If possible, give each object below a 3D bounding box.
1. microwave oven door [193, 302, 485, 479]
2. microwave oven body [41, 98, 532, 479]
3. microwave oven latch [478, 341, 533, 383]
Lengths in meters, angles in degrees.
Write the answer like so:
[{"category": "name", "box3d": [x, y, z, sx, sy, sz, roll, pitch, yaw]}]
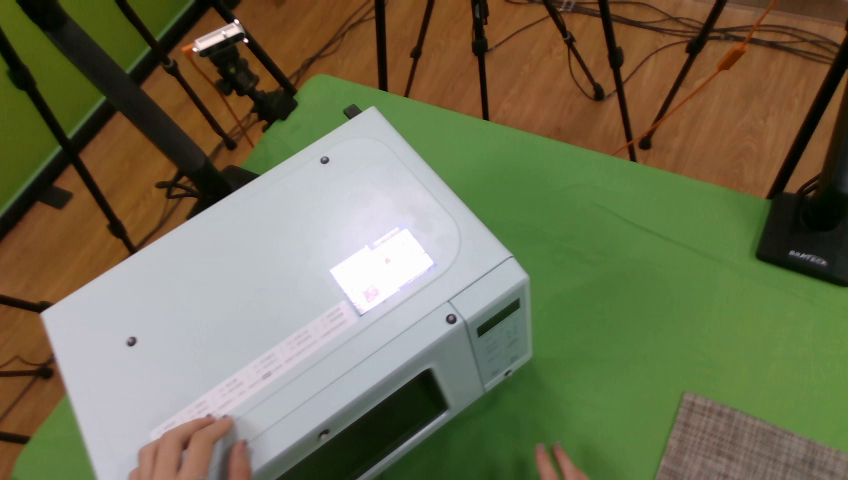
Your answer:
[{"category": "microwave oven door", "box3d": [-0.096, 0.219, 0.648, 0.356, 0.246, 0.039, -35, 60, -10]}, {"category": "microwave oven body", "box3d": [-0.142, 0.100, 0.730, 0.441, 0.262, 0.323, -35, 61, -9]}, {"category": "microwave oven latch", "box3d": [0.101, 0.147, 0.771, 0.079, 0.030, 0.030, -33, 61, -8]}]
